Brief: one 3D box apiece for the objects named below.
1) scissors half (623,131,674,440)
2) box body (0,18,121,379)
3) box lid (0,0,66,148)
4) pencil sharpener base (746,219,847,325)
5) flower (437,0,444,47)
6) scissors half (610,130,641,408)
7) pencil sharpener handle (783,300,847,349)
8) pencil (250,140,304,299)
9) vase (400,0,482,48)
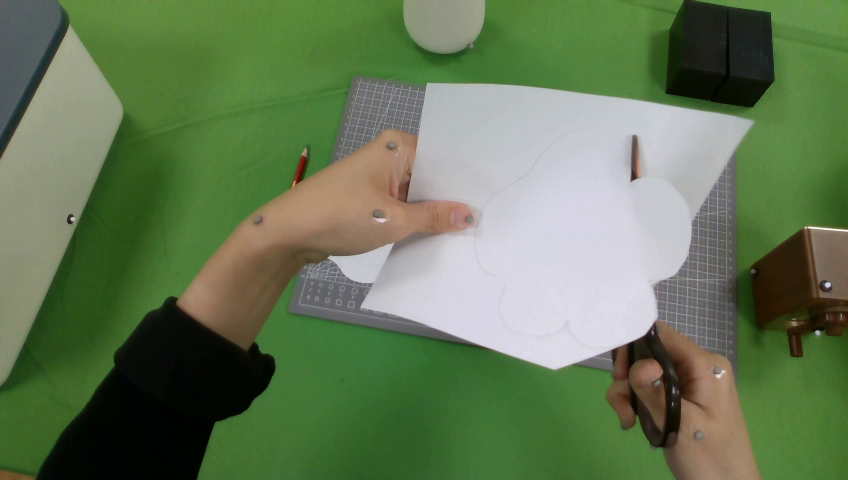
[{"bbox_3d":[0.122,0.026,0.338,0.013,0.040,0.175,-7,91,-4],"label":"scissors half"},{"bbox_3d":[-0.490,-0.056,0.579,0.254,0.161,0.361,9,68,4],"label":"box body"},{"bbox_3d":[-0.490,-0.087,0.511,0.263,0.015,0.369,10,68,3],"label":"box lid"},{"bbox_3d":[0.364,0.037,0.578,0.061,0.108,0.076,5,68,2],"label":"pencil sharpener base"},{"bbox_3d":[0.014,-0.351,0.592,0.044,0.365,0.038,3,50,5],"label":"flower"},{"bbox_3d":[0.121,0.022,0.359,0.013,0.176,0.039,-5,23,1],"label":"scissors half"},{"bbox_3d":[0.355,0.079,0.547,0.036,0.068,0.030,11,68,-12],"label":"pencil sharpener handle"},{"bbox_3d":[-0.155,-0.028,0.654,0.012,0.012,0.193,10,67,4],"label":"pencil"},{"bbox_3d":[0.019,-0.307,0.664,0.098,0.201,0.097,0,67,1],"label":"vase"}]
